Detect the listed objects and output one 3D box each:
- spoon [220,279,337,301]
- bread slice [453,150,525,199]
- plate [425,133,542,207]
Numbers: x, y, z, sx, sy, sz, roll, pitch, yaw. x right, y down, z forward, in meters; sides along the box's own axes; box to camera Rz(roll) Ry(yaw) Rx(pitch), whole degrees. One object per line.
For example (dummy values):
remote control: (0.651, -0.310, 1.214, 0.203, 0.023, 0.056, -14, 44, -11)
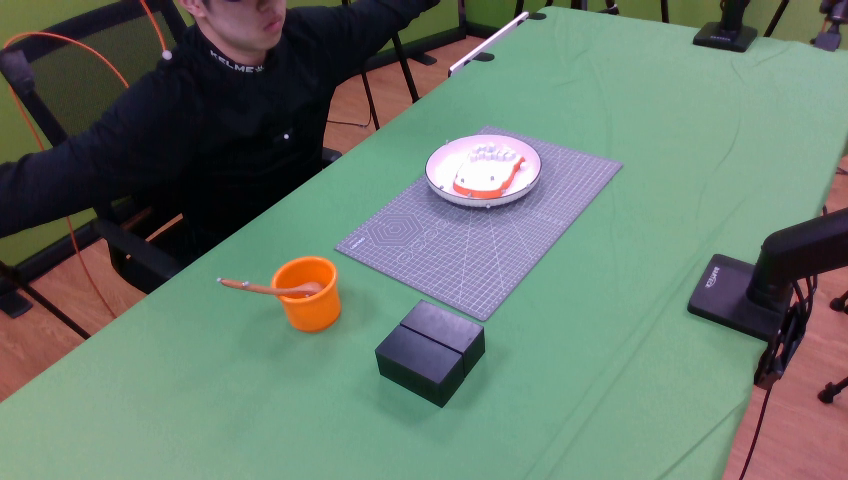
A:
spoon: (-0.189, 0.068, 0.813, 0.041, 0.021, 0.195, 33, 15, 36)
bread slice: (0.112, -0.118, 1.079, 0.104, 0.019, 0.131, 11, 42, 21)
plate: (0.105, -0.121, 1.079, 0.209, 0.038, 0.208, -4, 41, 4)
